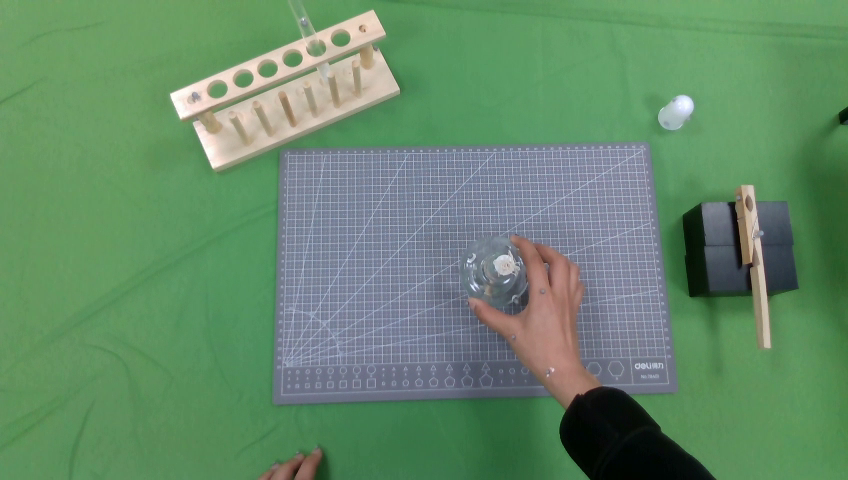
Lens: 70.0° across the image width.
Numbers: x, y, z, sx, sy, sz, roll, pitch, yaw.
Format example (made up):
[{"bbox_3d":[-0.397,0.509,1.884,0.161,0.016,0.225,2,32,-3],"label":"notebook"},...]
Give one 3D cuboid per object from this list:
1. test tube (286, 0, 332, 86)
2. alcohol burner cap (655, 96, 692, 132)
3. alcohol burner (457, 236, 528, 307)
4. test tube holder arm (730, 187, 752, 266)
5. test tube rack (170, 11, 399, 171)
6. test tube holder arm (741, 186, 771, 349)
[{"bbox_3d":[-0.123,-0.219,0.662,0.017,0.151,0.017,-3,67,7],"label":"test tube"},{"bbox_3d":[0.305,-0.155,0.736,0.034,0.048,0.033,0,76,0],"label":"alcohol burner cap"},{"bbox_3d":[0.075,0.031,0.638,0.078,0.119,0.077,1,82,-3],"label":"alcohol burner"},{"bbox_3d":[0.351,-0.015,0.668,0.010,0.015,0.087,-2,79,-1],"label":"test tube holder arm"},{"bbox_3d":[-0.153,-0.170,0.704,0.242,0.085,0.066,-25,78,-7],"label":"test tube rack"},{"bbox_3d":[0.359,0.029,0.659,0.013,0.015,0.177,-3,79,-2],"label":"test tube holder arm"}]
